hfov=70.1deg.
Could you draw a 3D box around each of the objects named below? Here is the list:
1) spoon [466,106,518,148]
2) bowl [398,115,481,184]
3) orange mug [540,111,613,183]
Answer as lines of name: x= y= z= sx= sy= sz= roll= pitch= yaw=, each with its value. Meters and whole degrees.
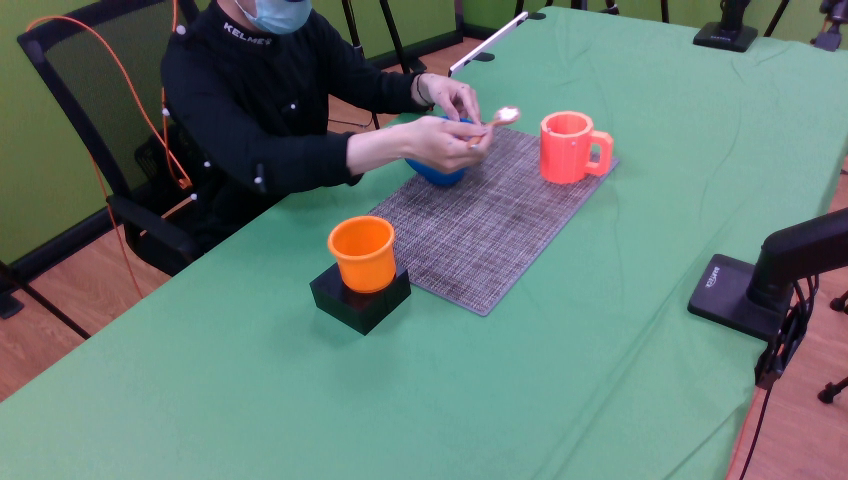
spoon: x=0.103 y=-0.178 z=0.939 sx=0.041 sy=0.021 sz=0.194 roll=23 pitch=31 yaw=16
bowl: x=0.031 y=-0.155 z=1.097 sx=0.151 sy=0.077 sz=0.150 roll=-4 pitch=41 yaw=4
orange mug: x=0.263 y=-0.159 z=1.052 sx=0.125 sy=0.101 sz=0.083 roll=13 pitch=44 yaw=28
